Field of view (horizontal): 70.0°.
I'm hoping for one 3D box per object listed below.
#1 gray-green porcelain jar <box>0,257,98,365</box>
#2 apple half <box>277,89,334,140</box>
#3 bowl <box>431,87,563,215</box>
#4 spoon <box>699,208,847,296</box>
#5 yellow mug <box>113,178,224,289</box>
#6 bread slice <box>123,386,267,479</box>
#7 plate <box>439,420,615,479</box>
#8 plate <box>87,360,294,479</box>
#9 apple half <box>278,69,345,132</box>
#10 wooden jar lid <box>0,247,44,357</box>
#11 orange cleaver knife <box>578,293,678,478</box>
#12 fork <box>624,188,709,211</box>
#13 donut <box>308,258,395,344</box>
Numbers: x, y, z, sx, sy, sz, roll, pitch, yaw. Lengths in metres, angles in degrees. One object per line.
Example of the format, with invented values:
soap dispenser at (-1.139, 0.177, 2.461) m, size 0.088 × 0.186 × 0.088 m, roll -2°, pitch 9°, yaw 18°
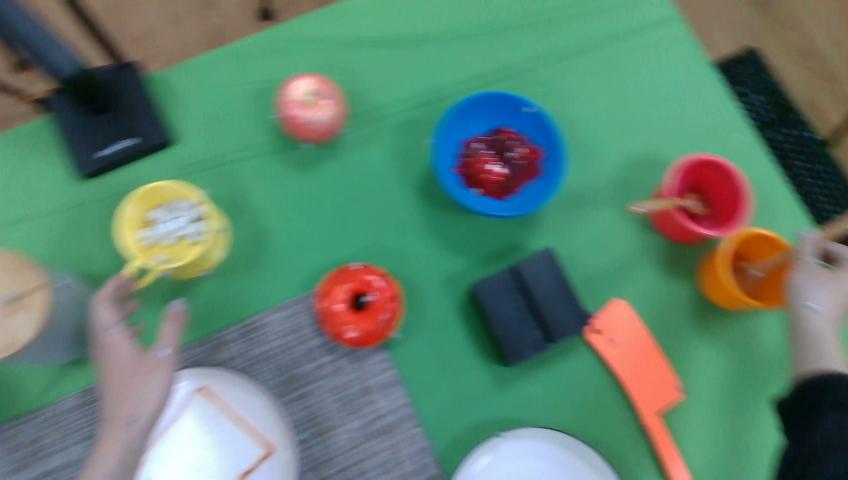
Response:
gray-green porcelain jar at (-0.411, 0.075, 0.624) m, size 0.106 × 0.127 × 0.105 m, roll 1°, pitch 77°, yaw -3°
apple half at (-0.145, -0.137, 0.713) m, size 0.081 × 0.081 × 0.032 m, roll 31°, pitch 72°, yaw 4°
bowl at (0.081, -0.094, 0.717) m, size 0.151 × 0.077 × 0.150 m, roll 1°, pitch 78°, yaw -3°
spoon at (0.400, 0.010, 0.677) m, size 0.022 × 0.194 × 0.041 m, roll 1°, pitch 60°, yaw -47°
yellow mug at (-0.293, 0.000, 0.679) m, size 0.100 × 0.064 × 0.130 m, roll 33°, pitch 78°, yaw 5°
bread slice at (-0.249, 0.239, 0.641) m, size 0.104 × 0.019 × 0.131 m, roll 39°, pitch 77°, yaw 6°
plate at (0.110, 0.300, 0.652) m, size 0.209 × 0.038 × 0.208 m, roll 1°, pitch 78°, yaw -3°
plate at (-0.241, 0.233, 0.642) m, size 0.208 × 0.039 × 0.206 m, roll 1°, pitch 78°, yaw -3°
apple half at (-0.126, -0.169, 0.723) m, size 0.080 × 0.075 × 0.053 m, roll 31°, pitch 72°, yaw 8°
wooden jar lid at (-0.407, 0.060, 0.564) m, size 0.108 × 0.021 × 0.108 m, roll 1°, pitch 76°, yaw -2°
orange cleaver knife at (0.250, 0.165, 0.701) m, size 0.077 × 0.012 × 0.210 m, roll -22°, pitch 78°, yaw -15°
fork at (0.277, -0.045, 0.683) m, size 0.208 × 0.018 × 0.028 m, roll -6°, pitch 74°, yaw -48°
donut at (-0.081, 0.068, 0.684) m, size 0.099 × 0.048 × 0.098 m, roll 1°, pitch 77°, yaw -4°
